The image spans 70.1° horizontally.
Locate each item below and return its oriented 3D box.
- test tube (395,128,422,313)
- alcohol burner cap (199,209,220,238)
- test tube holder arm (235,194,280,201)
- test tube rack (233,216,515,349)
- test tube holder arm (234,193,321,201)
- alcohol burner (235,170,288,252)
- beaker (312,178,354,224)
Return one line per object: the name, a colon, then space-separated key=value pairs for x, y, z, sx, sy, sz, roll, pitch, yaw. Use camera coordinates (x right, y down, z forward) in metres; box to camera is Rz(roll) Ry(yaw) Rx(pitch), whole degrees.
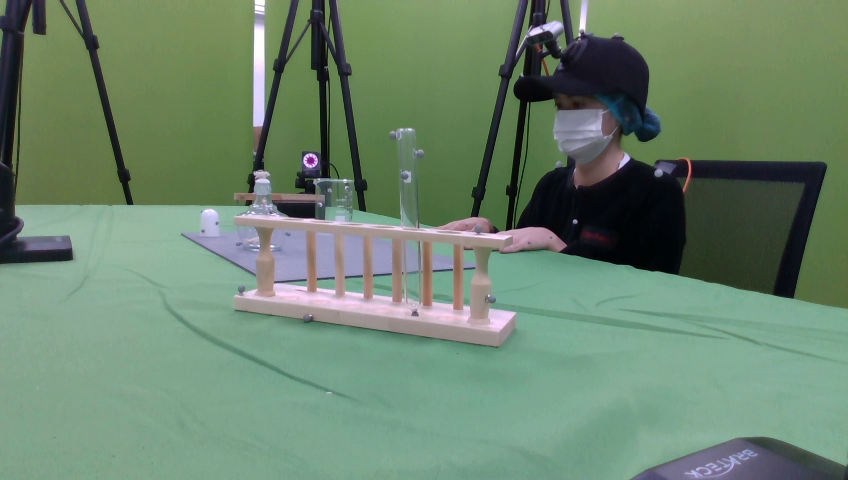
test tube: x=-0.012 y=-0.015 z=0.491 sx=0.017 sy=0.150 sz=0.017 roll=-2 pitch=5 yaw=1
alcohol burner cap: x=-0.356 y=-0.027 z=1.002 sx=0.034 sy=0.048 sz=0.034 roll=2 pitch=7 yaw=0
test tube holder arm: x=-0.336 y=-0.086 z=1.221 sx=0.088 sy=0.015 sz=0.010 roll=-1 pitch=16 yaw=-29
test tube rack: x=-0.045 y=0.029 z=0.526 sx=0.241 sy=0.085 sz=0.067 roll=5 pitch=8 yaw=19
test tube holder arm: x=-0.299 y=-0.088 z=1.248 sx=0.179 sy=0.015 sz=0.013 roll=-1 pitch=16 yaw=-30
alcohol burner: x=-0.236 y=-0.042 z=0.882 sx=0.078 sy=0.119 sz=0.078 roll=2 pitch=9 yaw=0
beaker: x=-0.173 y=-0.065 z=1.140 sx=0.084 sy=0.100 sz=0.073 roll=-5 pitch=10 yaw=-41
